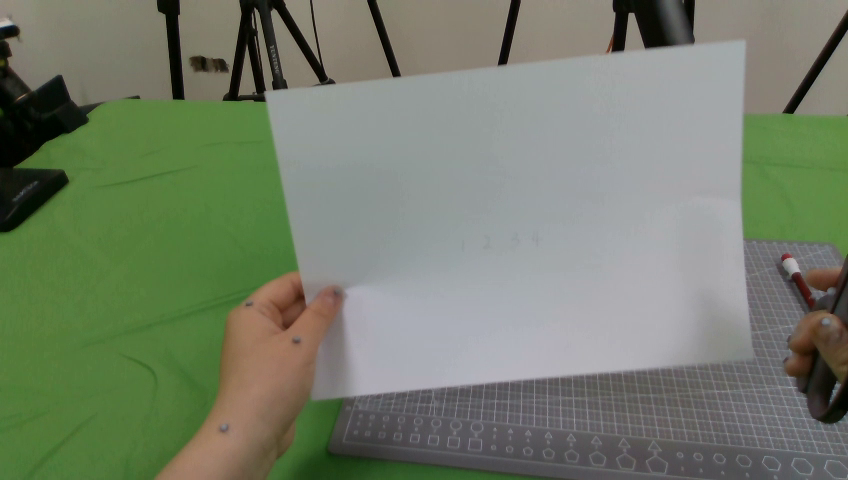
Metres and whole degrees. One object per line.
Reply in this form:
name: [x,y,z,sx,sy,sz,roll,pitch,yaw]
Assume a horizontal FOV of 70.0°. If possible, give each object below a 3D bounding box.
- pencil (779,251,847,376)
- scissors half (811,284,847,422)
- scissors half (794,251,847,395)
pencil: [0.344,0.074,0.519,0.012,0.012,0.192,1,39,5]
scissors half: [0.225,0.010,0.305,0.012,0.175,0.040,9,9,14]
scissors half: [0.230,0.006,0.324,0.013,0.176,0.040,8,25,9]
